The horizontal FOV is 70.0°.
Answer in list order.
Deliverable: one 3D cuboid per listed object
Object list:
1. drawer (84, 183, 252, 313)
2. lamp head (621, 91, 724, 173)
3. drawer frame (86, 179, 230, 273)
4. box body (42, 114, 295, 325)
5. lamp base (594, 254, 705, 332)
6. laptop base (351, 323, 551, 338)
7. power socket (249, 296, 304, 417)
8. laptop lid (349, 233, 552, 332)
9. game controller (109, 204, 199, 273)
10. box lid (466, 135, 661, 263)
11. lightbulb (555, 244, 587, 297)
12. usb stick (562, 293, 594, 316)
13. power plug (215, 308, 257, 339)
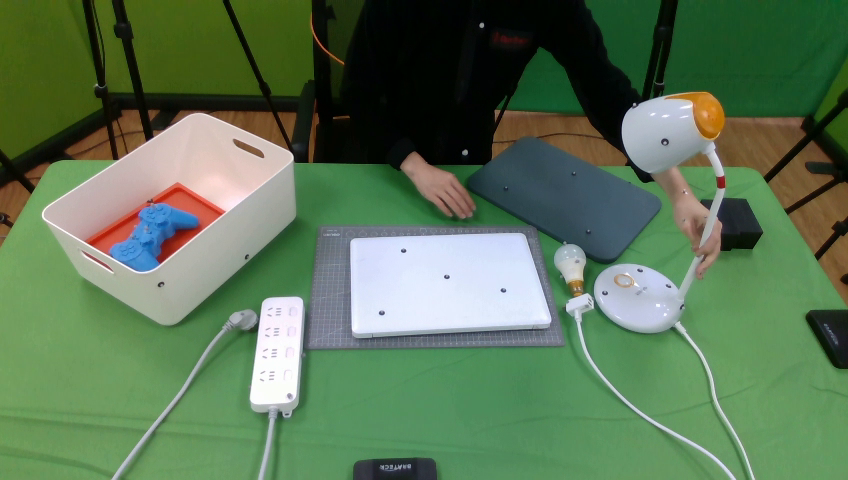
[{"bbox_3d":[-0.457,0.009,1.099,0.194,0.073,0.211,29,49,21],"label":"drawer"},{"bbox_3d":[0.373,-0.162,0.887,0.113,0.122,0.112,3,84,-30],"label":"lamp head"},{"bbox_3d":[-0.453,0.010,1.100,0.201,0.083,0.213,28,54,23],"label":"drawer frame"},{"bbox_3d":[-0.437,-0.046,1.110,0.253,0.161,0.363,24,49,19],"label":"box body"},{"bbox_3d":[0.410,0.057,1.065,0.178,0.181,0.160,36,54,23],"label":"lamp base"},{"bbox_3d":[0.040,0.080,1.126,0.355,0.023,0.234,-2,43,-6],"label":"laptop base"},{"bbox_3d":[-0.239,0.182,0.996,0.072,0.033,0.225,-2,47,-5],"label":"power socket"},{"bbox_3d":[0.040,0.070,1.119,0.357,0.013,0.240,-1,44,-5],"label":"laptop lid"},{"bbox_3d":[-0.467,-0.005,1.044,0.097,0.052,0.154,8,45,10],"label":"game controller"},{"bbox_3d":[0.306,-0.102,1.327,0.370,0.015,0.263,32,52,25],"label":"box lid"},{"bbox_3d":[0.282,0.057,1.146,0.059,0.060,0.107,-2,62,-6],"label":"lightbulb"},{"bbox_3d":[0.274,0.118,1.087,0.021,0.059,0.027,39,44,-27],"label":"usb stick"},{"bbox_3d":[-0.317,0.143,1.024,0.072,0.053,0.035,-33,58,-8],"label":"power plug"}]
